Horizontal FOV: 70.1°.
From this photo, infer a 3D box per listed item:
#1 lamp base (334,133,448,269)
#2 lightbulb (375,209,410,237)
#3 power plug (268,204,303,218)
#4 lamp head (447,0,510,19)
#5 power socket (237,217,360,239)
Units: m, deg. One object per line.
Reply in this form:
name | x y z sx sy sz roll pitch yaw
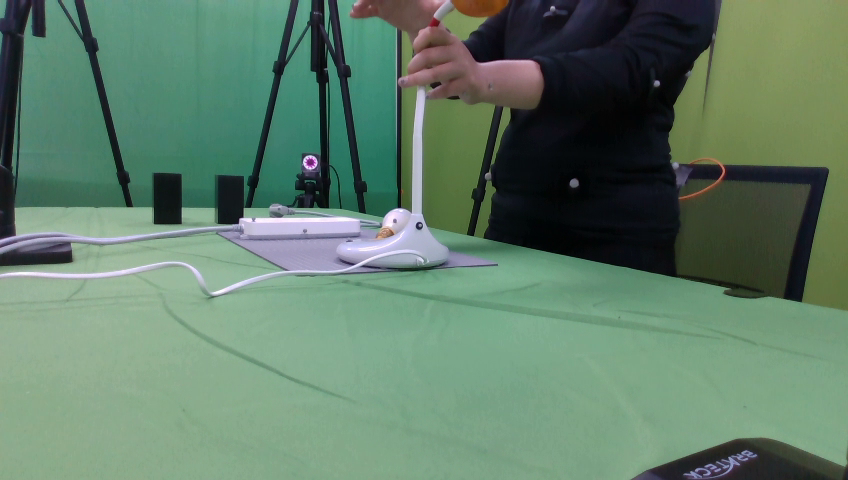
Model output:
lamp base | -0.034 -0.057 0.831 0.161 0.180 0.178 -2 11 -36
lightbulb | -0.052 -0.016 1.022 0.059 0.059 0.108 6 23 22
power plug | -0.327 -0.060 1.404 0.073 0.035 0.052 22 -14 -25
lamp head | 0.062 -0.322 0.704 0.112 0.122 0.112 6 -3 1
power socket | -0.221 -0.023 1.080 0.228 0.032 0.072 -2 8 -32
